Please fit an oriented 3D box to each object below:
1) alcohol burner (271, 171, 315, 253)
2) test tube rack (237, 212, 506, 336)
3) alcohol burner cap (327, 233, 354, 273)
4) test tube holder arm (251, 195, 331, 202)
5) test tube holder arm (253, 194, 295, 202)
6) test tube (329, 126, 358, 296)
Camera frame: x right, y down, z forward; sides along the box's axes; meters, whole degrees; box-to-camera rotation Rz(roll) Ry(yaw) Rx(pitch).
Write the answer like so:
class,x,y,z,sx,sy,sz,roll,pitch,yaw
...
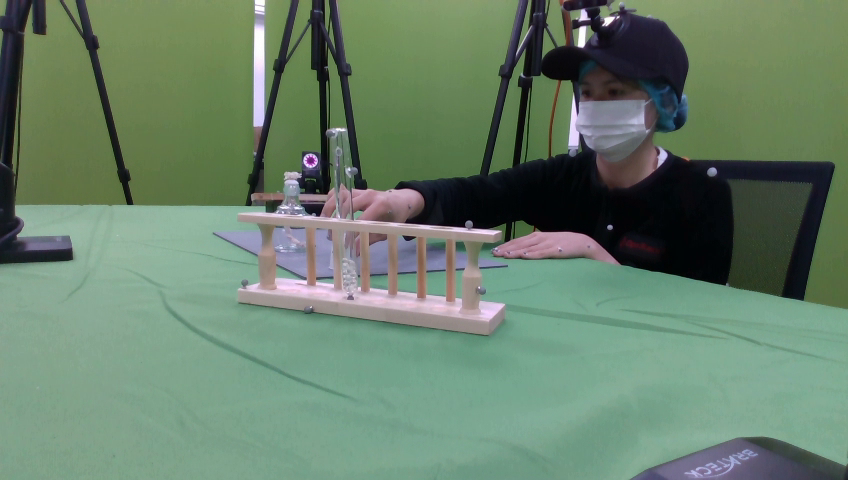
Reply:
class,x,y,z,sx,sy,sz,roll,pitch,yaw
alcohol burner,-0.196,-0.041,0.884,0.078,0.119,0.078,3,6,0
test tube rack,-0.049,0.024,0.552,0.242,0.085,0.067,5,8,18
alcohol burner cap,-0.104,0.015,0.752,0.034,0.048,0.034,2,6,0
test tube holder arm,-0.268,-0.085,1.237,0.179,0.015,0.013,-3,7,-43
test tube holder arm,-0.297,-0.083,1.202,0.088,0.015,0.010,-3,7,-42
test tube,-0.071,-0.025,0.535,0.017,0.150,0.017,-3,8,1
